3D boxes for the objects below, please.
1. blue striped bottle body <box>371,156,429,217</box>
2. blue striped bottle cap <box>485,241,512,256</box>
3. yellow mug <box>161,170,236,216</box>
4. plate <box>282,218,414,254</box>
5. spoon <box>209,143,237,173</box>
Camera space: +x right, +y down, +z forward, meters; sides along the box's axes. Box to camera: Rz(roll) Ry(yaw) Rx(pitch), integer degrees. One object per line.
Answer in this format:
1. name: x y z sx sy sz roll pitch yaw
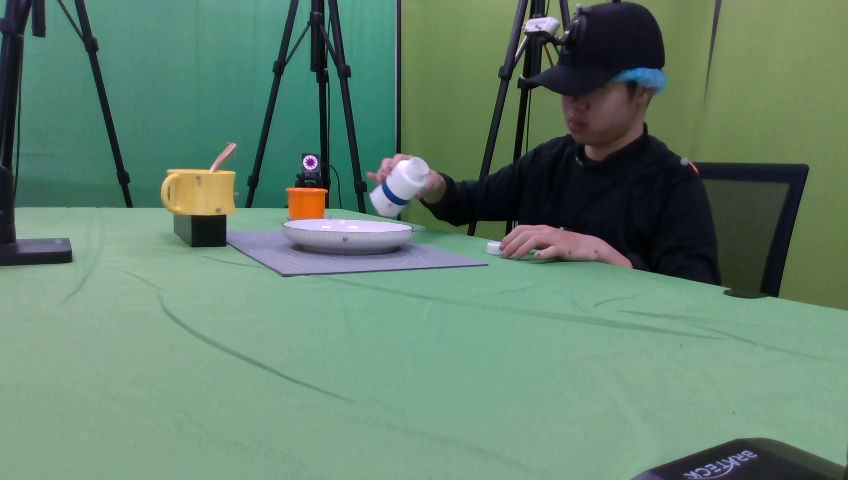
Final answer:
1. blue striped bottle body: -0.041 -0.101 1.107 0.063 0.063 0.120 -5 -30 -47
2. blue striped bottle cap: 0.123 0.014 1.000 0.044 0.020 0.044 6 7 0
3. yellow mug: -0.354 -0.074 0.935 0.099 0.064 0.131 5 9 21
4. plate: -0.121 -0.007 0.971 0.208 0.039 0.207 2 7 0
5. spoon: -0.341 -0.113 0.990 0.041 0.021 0.193 1 39 7
